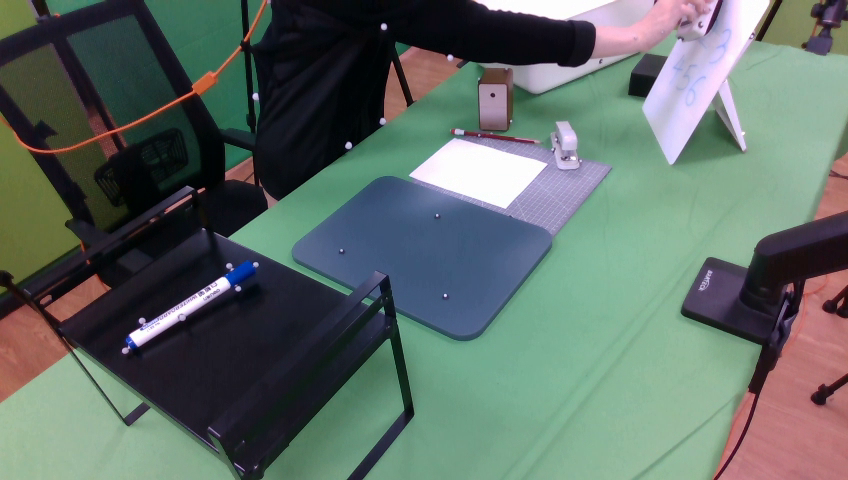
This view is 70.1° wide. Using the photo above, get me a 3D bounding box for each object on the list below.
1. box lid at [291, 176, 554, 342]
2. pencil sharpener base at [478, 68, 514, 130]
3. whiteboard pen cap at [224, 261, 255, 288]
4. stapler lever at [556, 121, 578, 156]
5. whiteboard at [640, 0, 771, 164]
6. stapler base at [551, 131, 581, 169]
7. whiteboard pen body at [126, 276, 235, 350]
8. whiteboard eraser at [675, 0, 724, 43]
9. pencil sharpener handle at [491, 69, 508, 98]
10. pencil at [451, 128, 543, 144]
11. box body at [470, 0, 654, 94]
[{"bbox_3d":[-0.005,0.011,0.972,0.368,0.015,0.264,22,49,30],"label":"box lid"},{"bbox_3d":[0.148,-0.286,1.225,0.061,0.107,0.076,5,41,14],"label":"pencil sharpener base"},{"bbox_3d":[-0.207,0.039,0.677,0.033,0.018,0.018,-35,47,-18],"label":"whiteboard pen cap"},{"bbox_3d":[0.265,-0.198,1.128,0.027,0.040,0.117,-1,38,4],"label":"stapler lever"},{"bbox_3d":[0.543,-0.299,1.076,0.144,0.305,0.216,12,40,-7],"label":"whiteboard"},{"bbox_3d":[0.268,-0.178,1.142,0.041,0.024,0.130,-1,38,4],"label":"stapler base"},{"bbox_3d":[-0.251,0.070,0.649,0.141,0.017,0.017,-36,48,-25],"label":"whiteboard pen body"},{"bbox_3d":[0.470,-0.388,1.015,0.042,0.112,0.055,24,-1,-21],"label":"whiteboard eraser"},{"bbox_3d":[0.155,-0.329,1.254,0.036,0.068,0.030,16,43,4],"label":"pencil sharpener handle"},{"bbox_3d":[0.145,-0.206,1.204,0.193,0.012,0.012,12,44,21],"label":"pencil"},{"bbox_3d":[0.319,-0.498,1.405,0.365,0.161,0.252,-26,43,-21],"label":"box body"}]
